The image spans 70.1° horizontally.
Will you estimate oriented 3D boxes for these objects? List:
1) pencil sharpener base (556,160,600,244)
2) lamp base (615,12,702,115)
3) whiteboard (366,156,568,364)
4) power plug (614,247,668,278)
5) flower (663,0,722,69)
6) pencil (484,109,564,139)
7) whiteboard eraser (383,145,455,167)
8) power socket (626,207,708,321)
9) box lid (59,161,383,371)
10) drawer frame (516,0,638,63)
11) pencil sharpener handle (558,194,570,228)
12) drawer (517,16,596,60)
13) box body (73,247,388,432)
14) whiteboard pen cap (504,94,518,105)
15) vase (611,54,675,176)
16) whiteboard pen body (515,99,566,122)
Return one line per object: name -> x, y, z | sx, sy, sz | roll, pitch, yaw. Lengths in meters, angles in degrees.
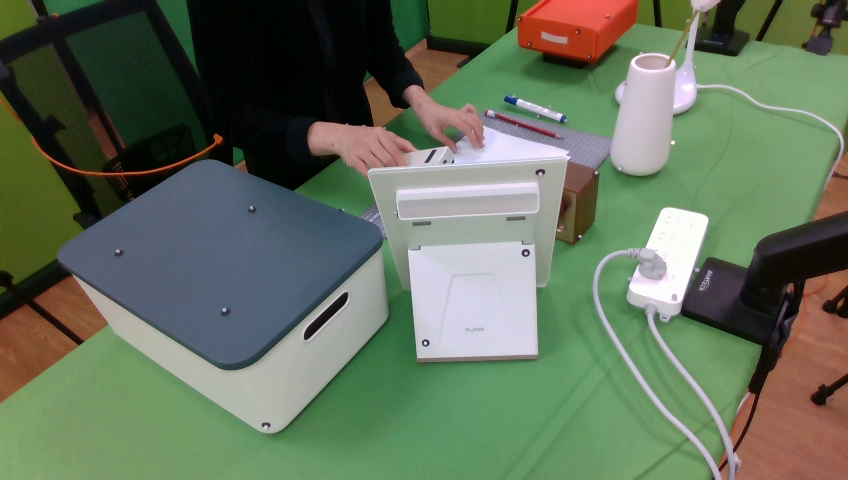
pencil sharpener base -> 0.228, -0.057, 0.945 | 0.061, 0.107, 0.077 | 24, 50, 31
lamp base -> 0.484, -0.363, 1.211 | 0.180, 0.181, 0.159 | -15, 41, -14
whiteboard -> 0.059, 0.050, 0.738 | 0.217, 0.307, 0.143 | -2, 60, 6
power plug -> 0.306, 0.031, 0.851 | 0.072, 0.053, 0.035 | 24, 49, 33
flower -> 0.379, -0.261, 0.965 | 0.044, 0.362, 0.038 | 20, 53, 5
pencil -> 0.201, -0.235, 1.229 | 0.192, 0.012, 0.012 | 28, 51, 32
whiteboard eraser -> -0.011, -0.104, 0.888 | 0.112, 0.042, 0.055 | -2, 47, 36
power socket -> 0.359, 0.025, 0.886 | 0.072, 0.033, 0.227 | 16, 46, 26
box lid -> -0.262, 0.010, 0.777 | 0.369, 0.015, 0.264 | 21, 48, 29
drawer frame -> 0.355, -0.508, 1.411 | 0.200, 0.083, 0.214 | 23, 51, 32
pencil sharpener handle -> 0.195, -0.038, 0.908 | 0.035, 0.068, 0.031 | 24, 50, 30
drawer -> 0.353, -0.506, 1.405 | 0.193, 0.073, 0.212 | 23, 49, 32
box body -> -0.255, 0.065, 0.827 | 0.361, 0.161, 0.255 | 21, 48, 29
whiteboard pen cap -> 0.190, -0.299, 1.292 | 0.033, 0.018, 0.018 | 30, 52, 28
vase -> 0.377, -0.209, 1.031 | 0.098, 0.201, 0.097 | -3, 40, 3
whiteboard pen body -> 0.234, -0.274, 1.262 | 0.139, 0.017, 0.017 | 28, 51, 29
